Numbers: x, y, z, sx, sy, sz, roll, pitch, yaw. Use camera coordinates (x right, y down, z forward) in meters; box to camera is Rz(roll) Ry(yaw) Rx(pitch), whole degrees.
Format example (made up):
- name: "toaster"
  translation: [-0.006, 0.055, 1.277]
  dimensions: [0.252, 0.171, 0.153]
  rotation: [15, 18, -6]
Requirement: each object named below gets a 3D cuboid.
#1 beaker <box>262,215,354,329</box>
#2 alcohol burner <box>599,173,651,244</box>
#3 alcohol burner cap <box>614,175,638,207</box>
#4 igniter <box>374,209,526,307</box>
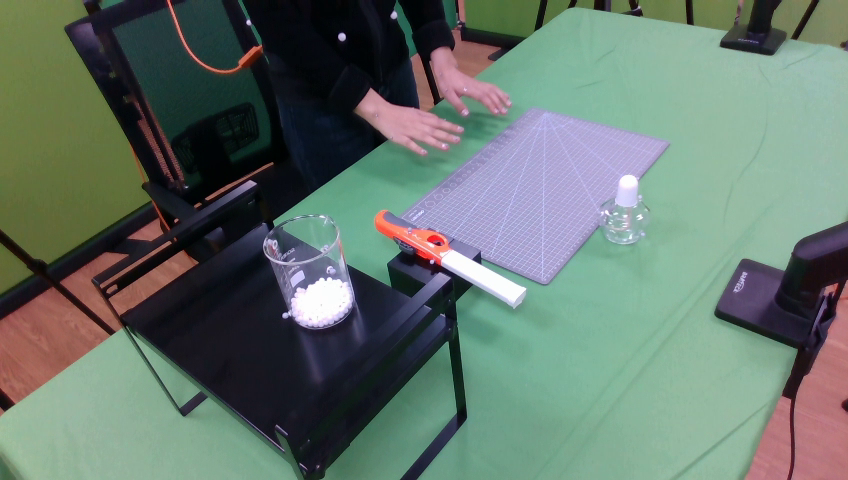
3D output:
- name: "beaker"
  translation: [-0.112, 0.034, 0.616]
  dimensions: [0.073, 0.101, 0.084]
  rotation: [13, 44, 23]
- name: "alcohol burner"
  translation: [0.307, -0.052, 0.920]
  dimensions: [0.078, 0.119, 0.077]
  rotation: [-6, 42, 6]
- name: "alcohol burner cap"
  translation: [0.303, -0.076, 0.901]
  dimensions: [0.034, 0.048, 0.033]
  rotation: [-5, 43, 5]
- name: "igniter"
  translation: [0.026, 0.019, 0.873]
  dimensions: [0.274, 0.025, 0.057]
  rotation: [29, 52, 31]
